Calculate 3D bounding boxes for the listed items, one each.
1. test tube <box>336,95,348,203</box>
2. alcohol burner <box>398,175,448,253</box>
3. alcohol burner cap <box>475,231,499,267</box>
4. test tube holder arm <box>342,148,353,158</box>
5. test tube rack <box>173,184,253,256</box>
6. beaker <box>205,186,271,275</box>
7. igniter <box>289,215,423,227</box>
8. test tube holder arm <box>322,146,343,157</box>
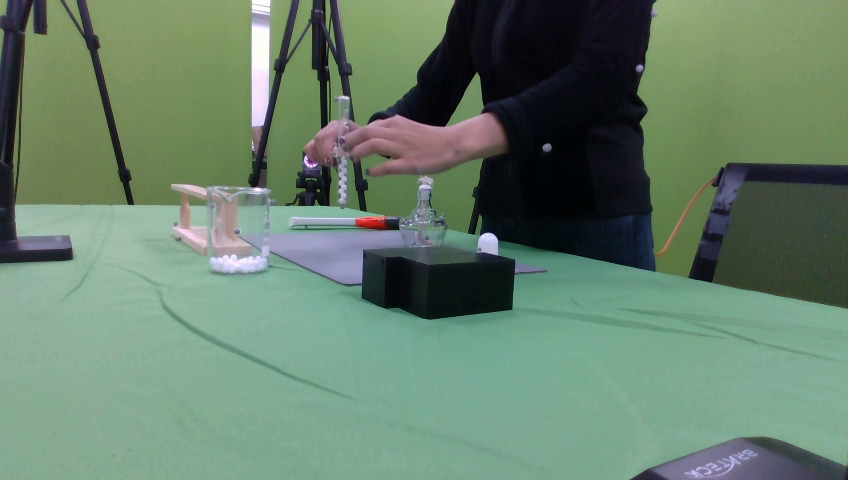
[{"bbox_3d":[-0.115,-0.127,0.846,0.017,0.150,0.017,2,6,0],"label":"test tube"},{"bbox_3d":[-0.001,-0.041,0.937,0.078,0.119,0.078,0,8,0],"label":"alcohol burner"},{"bbox_3d":[0.088,0.012,0.830,0.034,0.048,0.034,2,6,0],"label":"alcohol burner cap"},{"bbox_3d":[-0.119,-0.125,0.870,0.010,0.015,0.087,8,5,-24],"label":"test tube holder arm"},{"bbox_3d":[-0.329,-0.036,0.927,0.067,0.085,0.241,-2,9,-32],"label":"test tube rack"},{"bbox_3d":[-0.221,-0.012,0.717,0.074,0.100,0.084,2,8,-3],"label":"beaker"},{"bbox_3d":[-0.133,-0.038,1.231,0.278,0.025,0.057,-1,-2,-26],"label":"igniter"},{"bbox_3d":[-0.139,-0.132,0.910,0.013,0.015,0.178,9,5,-18],"label":"test tube holder arm"}]
